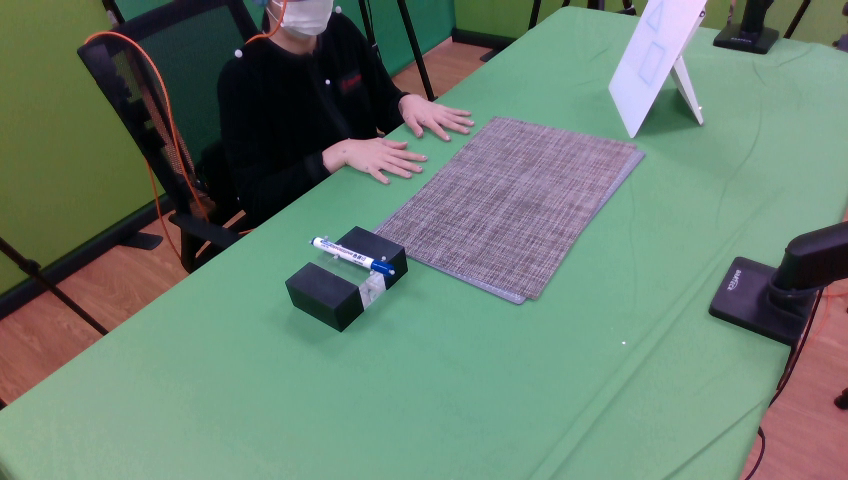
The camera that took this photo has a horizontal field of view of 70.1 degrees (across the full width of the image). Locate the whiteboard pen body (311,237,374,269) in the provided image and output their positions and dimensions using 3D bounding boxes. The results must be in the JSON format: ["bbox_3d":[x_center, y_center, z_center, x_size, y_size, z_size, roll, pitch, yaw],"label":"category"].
[{"bbox_3d":[-0.111,0.022,0.891,0.140,0.017,0.017,19,47,28],"label":"whiteboard pen body"}]

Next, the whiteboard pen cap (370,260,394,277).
[{"bbox_3d":[-0.061,0.040,0.862,0.033,0.018,0.018,19,47,26],"label":"whiteboard pen cap"}]

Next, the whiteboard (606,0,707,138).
[{"bbox_3d":[0.496,-0.359,1.147,0.144,0.305,0.216,11,40,-7],"label":"whiteboard"}]
